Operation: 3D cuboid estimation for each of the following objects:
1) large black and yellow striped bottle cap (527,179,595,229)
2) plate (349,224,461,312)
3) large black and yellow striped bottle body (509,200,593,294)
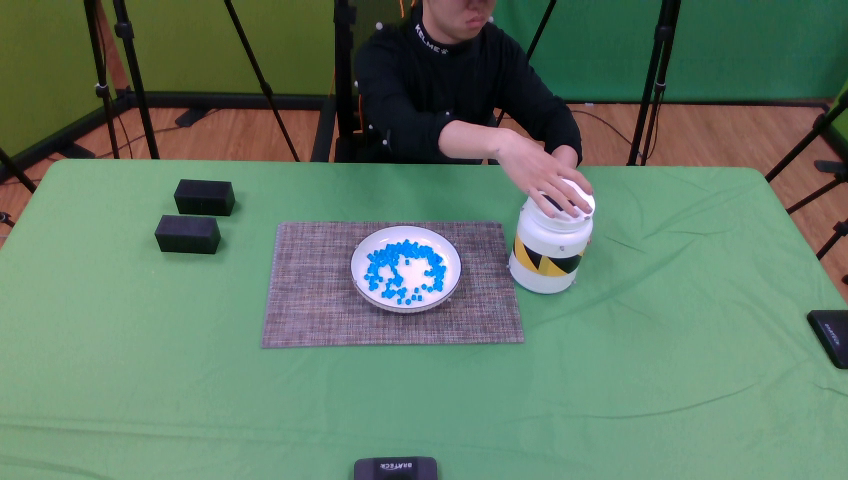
[{"bbox_3d":[0.235,-0.064,1.043,0.115,0.019,0.114,3,45,-3],"label":"large black and yellow striped bottle cap"},{"bbox_3d":[-0.035,0.054,1.126,0.208,0.039,0.206,2,46,-2],"label":"plate"},{"bbox_3d":[0.232,-0.006,1.106,0.131,0.185,0.130,2,46,-2],"label":"large black and yellow striped bottle body"}]
